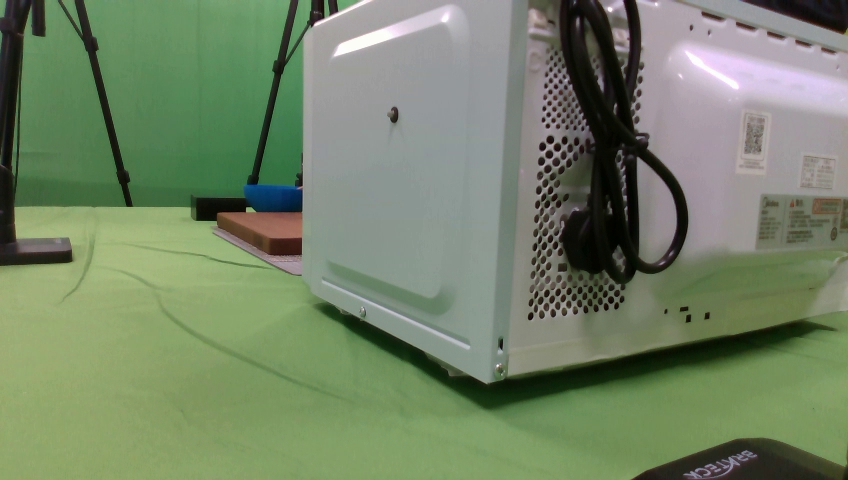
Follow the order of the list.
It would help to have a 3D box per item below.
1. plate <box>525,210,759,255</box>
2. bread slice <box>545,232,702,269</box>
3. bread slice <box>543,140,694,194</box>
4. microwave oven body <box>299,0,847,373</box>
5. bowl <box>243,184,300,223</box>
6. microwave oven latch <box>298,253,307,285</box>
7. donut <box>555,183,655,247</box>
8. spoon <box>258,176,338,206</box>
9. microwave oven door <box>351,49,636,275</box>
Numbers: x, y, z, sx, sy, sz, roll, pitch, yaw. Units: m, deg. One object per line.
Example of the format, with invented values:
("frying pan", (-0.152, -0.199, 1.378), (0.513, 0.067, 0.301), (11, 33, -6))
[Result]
("plate", (0.201, -0.009, 0.578), (0.208, 0.039, 0.207), (0, 3, 0))
("bread slice", (0.200, 0.011, 0.590), (0.105, 0.019, 0.131), (9, -10, -27))
("bread slice", (0.201, -0.074, 0.612), (0.133, 0.018, 0.107), (24, 16, 36))
("microwave oven body", (0.151, -0.055, 0.543), (0.444, 0.260, 0.324), (-2, 7, -33))
("bowl", (-0.321, -0.081, 1.333), (0.151, 0.077, 0.151), (3, 7, 0))
("microwave oven latch", (-0.081, 0.027, 0.582), (0.079, 0.029, 0.030), (-1, 7, -32))
("donut", (0.182, -0.027, 0.613), (0.099, 0.048, 0.099), (13, -12, 3))
("spoon", (-0.279, -0.112, 1.356), (0.194, 0.021, 0.041), (-27, 19, -27))
("microwave oven door", (0.094, -0.085, 0.719), (0.357, 0.243, 0.039), (0, 8, -21))
